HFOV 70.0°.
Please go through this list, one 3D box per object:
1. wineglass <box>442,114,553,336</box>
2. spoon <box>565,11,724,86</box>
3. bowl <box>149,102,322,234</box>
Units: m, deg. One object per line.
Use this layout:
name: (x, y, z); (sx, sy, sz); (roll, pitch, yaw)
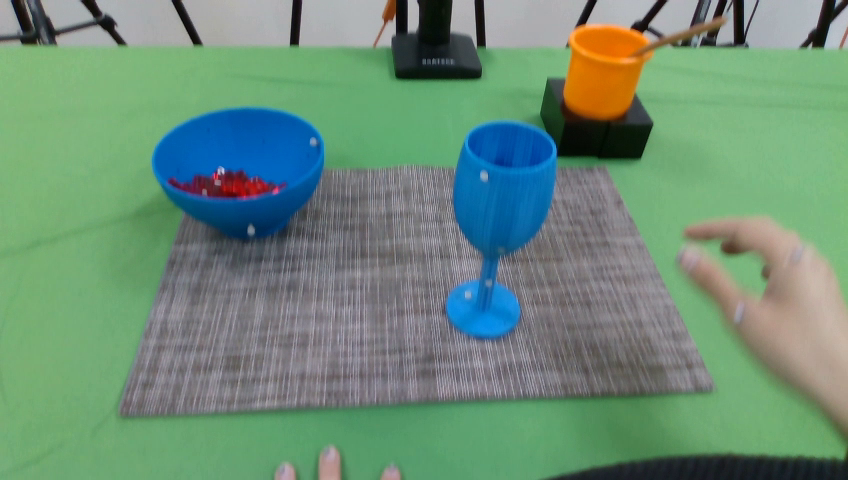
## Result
wineglass: (0.052, -0.005, 0.464); (0.074, 0.174, 0.073); (2, 43, -2)
spoon: (0.221, -0.197, 0.632); (0.041, 0.193, 0.022); (-35, 99, -29)
bowl: (-0.170, -0.059, 0.573); (0.151, 0.077, 0.150); (2, 43, -2)
